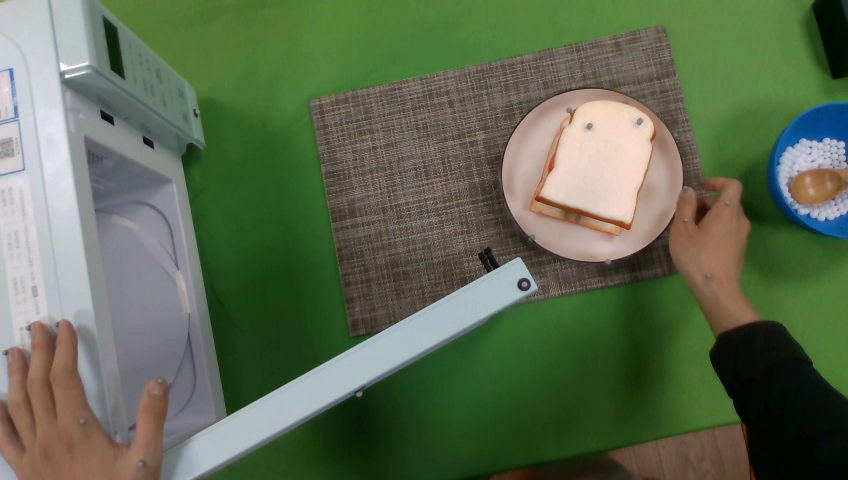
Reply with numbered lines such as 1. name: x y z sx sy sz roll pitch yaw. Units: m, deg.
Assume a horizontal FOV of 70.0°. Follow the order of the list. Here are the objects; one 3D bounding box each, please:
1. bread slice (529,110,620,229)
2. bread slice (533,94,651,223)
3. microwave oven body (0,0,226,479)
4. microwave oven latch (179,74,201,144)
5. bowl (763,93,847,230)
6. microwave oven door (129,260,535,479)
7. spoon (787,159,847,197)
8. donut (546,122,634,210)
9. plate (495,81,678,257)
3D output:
1. bread slice: 0.188 -0.088 0.712 0.107 0.018 0.134 13 84 4
2. bread slice: 0.187 -0.095 0.655 0.104 0.019 0.131 17 82 11
3. microwave oven body: -0.403 0.035 0.618 0.326 0.261 0.440 -13 84 1
4. microwave oven latch: -0.293 -0.158 0.731 0.030 0.029 0.079 -13 84 1
5. bowl: 0.448 -0.079 0.681 0.151 0.077 0.151 0 83 3
6. microwave oven door: -0.065 0.122 0.586 0.356 0.244 0.039 -29 81 -1
7. spoon: 0.495 -0.089 0.648 0.193 0.022 0.041 -17 77 23
8. donut: 0.187 -0.083 0.685 0.099 0.048 0.099 0 85 3
9. plate: 0.187 -0.081 0.712 0.207 0.039 0.207 0 84 3
